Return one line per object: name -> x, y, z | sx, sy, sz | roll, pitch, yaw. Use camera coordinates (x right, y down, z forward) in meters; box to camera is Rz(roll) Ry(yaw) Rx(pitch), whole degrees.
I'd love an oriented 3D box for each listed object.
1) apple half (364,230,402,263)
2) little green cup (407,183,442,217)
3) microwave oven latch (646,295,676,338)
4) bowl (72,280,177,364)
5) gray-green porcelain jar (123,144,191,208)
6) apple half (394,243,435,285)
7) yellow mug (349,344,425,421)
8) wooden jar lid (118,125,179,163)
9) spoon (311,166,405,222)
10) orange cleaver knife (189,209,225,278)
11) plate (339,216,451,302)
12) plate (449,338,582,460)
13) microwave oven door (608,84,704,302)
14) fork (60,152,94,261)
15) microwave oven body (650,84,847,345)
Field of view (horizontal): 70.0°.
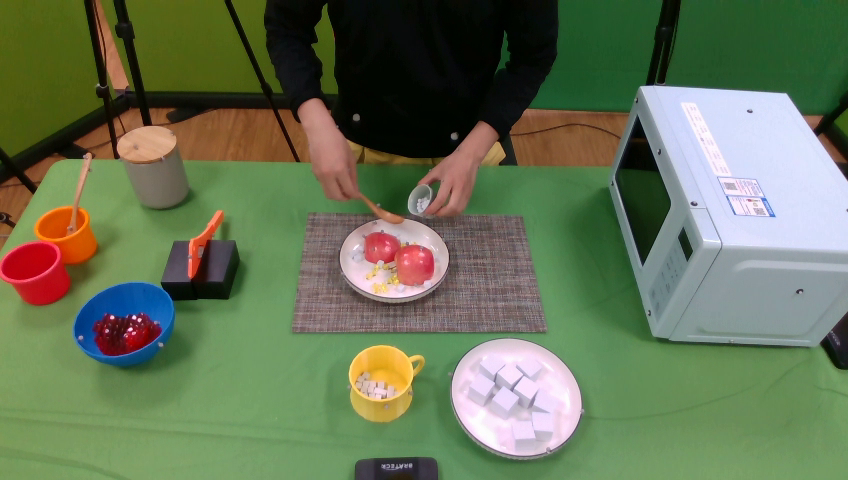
apple half -> -0.079, 0.004, 1.159 | 0.081, 0.033, 0.081 | 2, 49, -2
little green cup -> 0.002, -0.074, 1.147 | 0.061, 0.039, 0.061 | -11, 68, 30
microwave oven latch -> 0.413, 0.133, 1.060 | 0.030, 0.029, 0.078 | 4, 46, 1
bowl -> -0.472, 0.147, 0.982 | 0.151, 0.077, 0.150 | 2, 46, -2
gray-green porcelain jar -> -0.530, -0.137, 1.213 | 0.106, 0.127, 0.105 | 2, 46, -2
apple half -> -0.016, 0.037, 1.120 | 0.075, 0.053, 0.080 | 1, 46, -6
yellow mug -> -0.054, 0.217, 0.954 | 0.131, 0.064, 0.099 | -24, 53, -25
wooden jar lid -> -0.528, -0.181, 1.167 | 0.108, 0.021, 0.107 | 4, 48, -4
spoon -> -0.120, -0.084, 1.105 | 0.194, 0.021, 0.041 | 34, 24, -8
orange cleaver knife -> -0.400, 0.002, 1.122 | 0.012, 0.077, 0.210 | 4, 23, -4
plate -> -0.054, 0.038, 1.138 | 0.209, 0.038, 0.208 | 2, 46, -2
plate -> 0.141, 0.251, 0.955 | 0.208, 0.039, 0.206 | 2, 47, -2
microwave oven door -> 0.424, -0.096, 1.138 | 0.039, 0.245, 0.353 | 2, 46, -1
fork -> -0.638, -0.063, 1.119 | 0.028, 0.018, 0.207 | 12, 90, 10
microwave oven body -> 0.569, -0.054, 1.116 | 0.326, 0.261, 0.439 | 2, 46, -1
